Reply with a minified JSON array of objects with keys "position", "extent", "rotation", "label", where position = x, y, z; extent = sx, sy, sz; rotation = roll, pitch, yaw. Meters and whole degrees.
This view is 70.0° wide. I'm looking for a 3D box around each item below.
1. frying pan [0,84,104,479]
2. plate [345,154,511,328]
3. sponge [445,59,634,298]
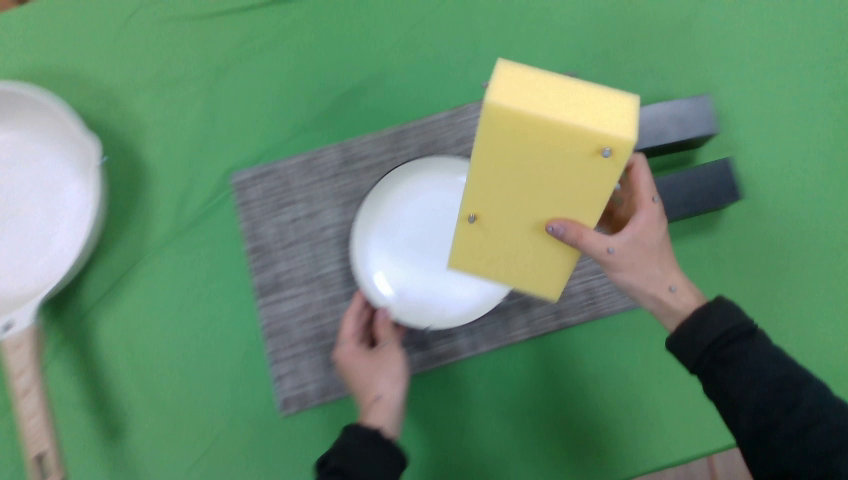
[{"position":[-0.486,0.047,0.708],"extent":[0.307,0.103,0.484],"rotation":[-24,72,0],"label":"frying pan"},{"position":[0.012,0.002,0.720],"extent":[0.207,0.039,0.207],"rotation":[0,81,3],"label":"plate"},{"position":[0.094,-0.045,0.545],"extent":[0.118,0.208,0.060],"rotation":[15,49,5],"label":"sponge"}]
